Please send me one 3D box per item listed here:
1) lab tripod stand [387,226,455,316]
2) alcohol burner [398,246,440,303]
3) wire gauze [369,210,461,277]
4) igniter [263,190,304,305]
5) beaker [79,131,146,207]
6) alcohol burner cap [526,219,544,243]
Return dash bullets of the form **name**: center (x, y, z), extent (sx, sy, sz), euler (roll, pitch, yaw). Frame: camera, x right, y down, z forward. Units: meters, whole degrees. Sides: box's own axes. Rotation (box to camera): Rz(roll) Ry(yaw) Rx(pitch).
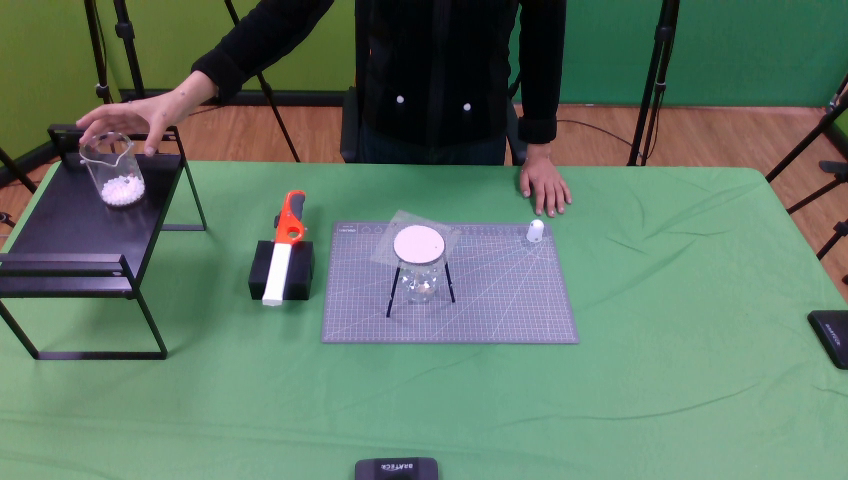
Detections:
- **lab tripod stand**: center (-0.013, 0.054, 1.064), extent (0.148, 0.132, 0.147), euler (2, 48, -2)
- **alcohol burner**: center (-0.008, 0.056, 1.077), extent (0.078, 0.119, 0.077), euler (3, 44, -3)
- **wire gauze**: center (-0.013, 0.005, 1.017), extent (0.121, 0.011, 0.124), euler (17, 49, 12)
- **igniter**: center (-0.255, 0.004, 1.107), extent (0.057, 0.025, 0.274), euler (5, 47, -7)
- **beaker**: center (-0.488, -0.108, 0.961), extent (0.074, 0.101, 0.083), euler (-25, 54, -25)
- **alcohol burner cap**: center (0.225, -0.021, 1.218), extent (0.034, 0.048, 0.033), euler (1, 46, -1)
